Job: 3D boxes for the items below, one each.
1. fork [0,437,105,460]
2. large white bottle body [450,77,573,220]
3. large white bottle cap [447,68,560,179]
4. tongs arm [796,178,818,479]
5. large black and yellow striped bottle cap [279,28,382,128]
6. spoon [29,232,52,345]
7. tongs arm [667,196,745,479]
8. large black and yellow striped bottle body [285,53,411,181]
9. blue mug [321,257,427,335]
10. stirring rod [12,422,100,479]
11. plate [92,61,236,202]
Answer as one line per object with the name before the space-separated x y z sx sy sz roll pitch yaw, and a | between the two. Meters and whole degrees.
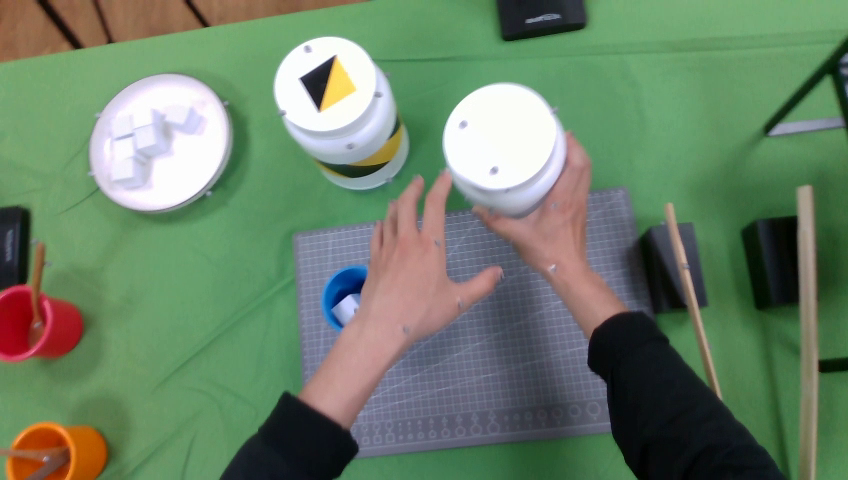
fork | -0.500 0.246 0.732 0.209 0.018 0.028 20 75 -33
large white bottle body | 0.103 -0.103 0.697 0.130 0.186 0.130 -3 79 15
large white bottle cap | 0.080 -0.119 0.616 0.114 0.018 0.114 -3 79 14
tongs arm | 0.418 0.125 0.672 0.028 0.028 0.387 2 90 -1
large black and yellow striped bottle cap | -0.104 -0.180 0.671 0.115 0.019 0.114 -1 79 5
spoon | -0.490 0.066 0.772 0.041 0.021 0.194 39 128 16
tongs arm | 0.337 0.135 0.678 0.051 0.026 0.384 -11 89 2
large black and yellow striped bottle body | -0.093 -0.160 0.752 0.130 0.185 0.130 -1 77 7
blue mug | -0.055 0.070 0.736 0.116 0.106 0.082 0 77 7
stirring rod | -0.473 0.280 0.728 0.014 0.006 0.176 40 42 10
plate | -0.362 -0.151 0.858 0.207 0.039 0.206 -1 78 7
